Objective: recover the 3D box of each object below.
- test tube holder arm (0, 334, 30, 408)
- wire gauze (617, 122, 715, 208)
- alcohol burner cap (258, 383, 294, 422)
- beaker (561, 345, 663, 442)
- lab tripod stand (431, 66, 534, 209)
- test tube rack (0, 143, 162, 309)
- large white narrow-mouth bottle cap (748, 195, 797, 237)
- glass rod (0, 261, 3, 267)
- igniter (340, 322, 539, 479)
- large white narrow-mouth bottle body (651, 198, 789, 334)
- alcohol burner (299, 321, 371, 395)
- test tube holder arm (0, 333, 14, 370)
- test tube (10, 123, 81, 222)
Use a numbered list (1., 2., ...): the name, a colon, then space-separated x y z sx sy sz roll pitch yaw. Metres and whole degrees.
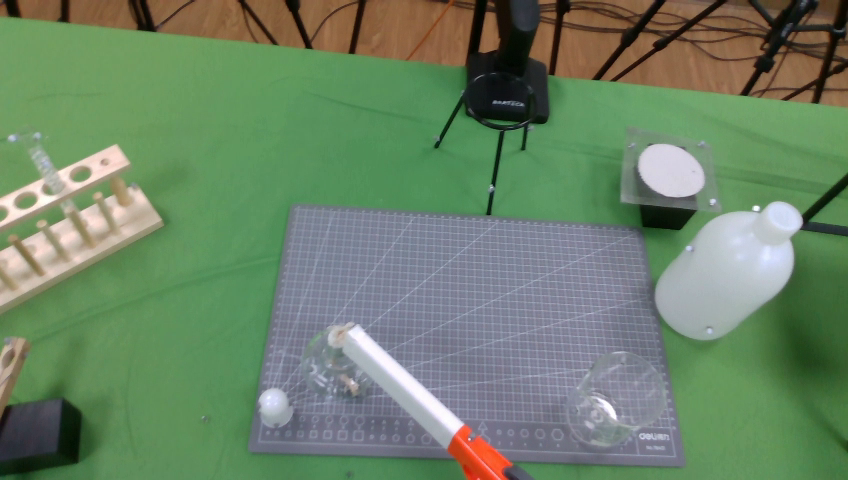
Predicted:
1. test tube holder arm: -0.389 0.130 0.560 0.010 0.015 0.087 7 58 -2
2. wire gauze: 0.307 -0.096 0.776 0.121 0.011 0.124 10 58 0
3. alcohol burner cap: -0.150 0.161 0.606 0.034 0.048 0.033 2 60 -3
4. beaker: 0.182 0.159 0.611 0.084 0.101 0.073 1 59 -5
5. lab tripod stand: 0.081 -0.134 0.758 0.148 0.132 0.147 4 60 -6
6. test tube rack: -0.422 -0.003 0.651 0.242 0.086 0.066 -34 68 -23
7. large white narrow-mouth bottle cap: 0.334 -0.023 0.584 0.038 0.024 0.037 3 59 -4
8. glass rod: -0.454 -0.034 0.589 0.008 0.201 0.008 4 50 -5
9. igniter: 0.032 0.165 0.492 0.274 0.057 0.025 39 46 20
10. large white narrow-mouth bottle body: 0.328 0.022 0.656 0.102 0.196 0.101 2 59 -4
11. alcohol burner: -0.085 0.110 0.602 0.078 0.120 0.077 4 58 -6
12. test tube holder arm: -0.397 0.167 0.535 0.013 0.015 0.177 6 58 -3
13. test tube: -0.390 -0.064 0.632 0.017 0.151 0.017 4 56 -5
